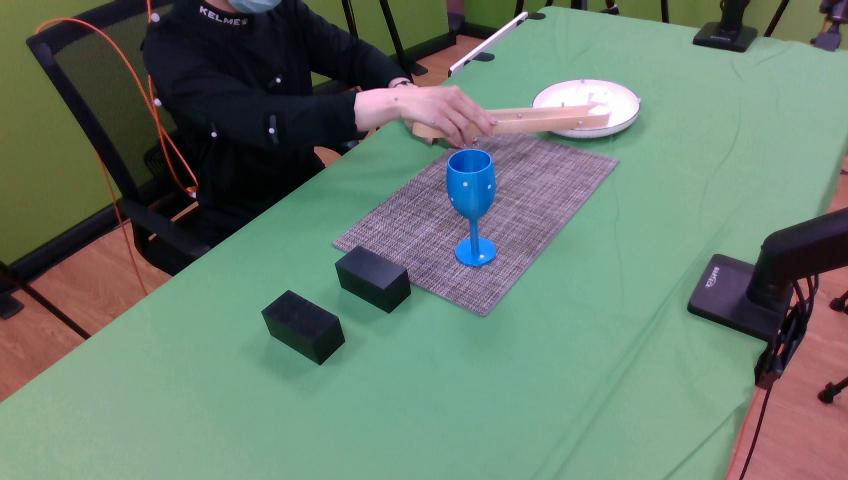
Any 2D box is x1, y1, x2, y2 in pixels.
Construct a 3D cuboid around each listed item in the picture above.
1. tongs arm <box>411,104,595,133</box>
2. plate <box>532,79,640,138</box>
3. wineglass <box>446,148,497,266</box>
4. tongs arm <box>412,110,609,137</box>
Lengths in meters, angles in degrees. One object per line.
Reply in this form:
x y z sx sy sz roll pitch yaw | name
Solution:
0.157 -0.225 1.115 0.387 0.026 0.050 -6 30 -16 | tongs arm
0.322 -0.259 1.212 0.209 0.038 0.208 -4 40 4 | plate
0.073 -0.046 0.889 0.074 0.173 0.073 -4 41 4 | wineglass
0.167 -0.212 1.093 0.390 0.028 0.028 -7 34 -19 | tongs arm
